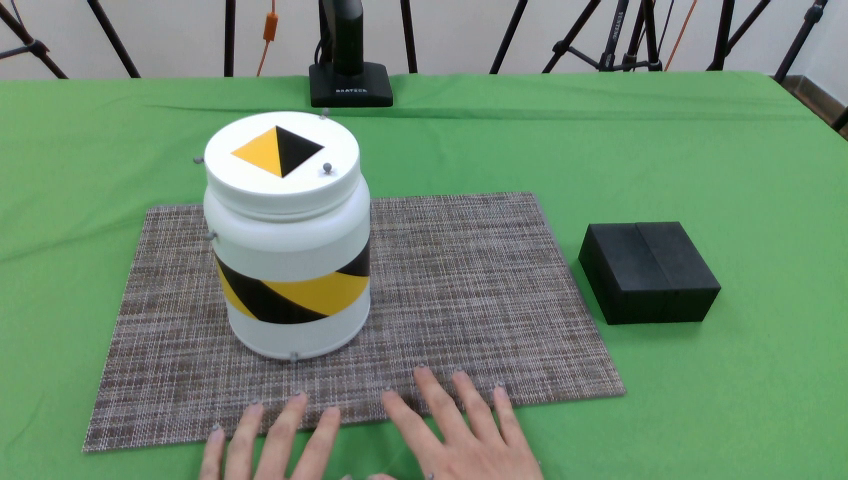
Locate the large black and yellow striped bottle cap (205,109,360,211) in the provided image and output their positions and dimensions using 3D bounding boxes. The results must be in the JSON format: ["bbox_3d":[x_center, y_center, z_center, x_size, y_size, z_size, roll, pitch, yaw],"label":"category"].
[{"bbox_3d":[-0.107,-0.065,0.465,0.115,0.019,0.114,2,42,-2],"label":"large black and yellow striped bottle cap"}]

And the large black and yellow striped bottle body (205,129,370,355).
[{"bbox_3d":[-0.112,-0.003,0.523,0.131,0.185,0.129,3,42,-2],"label":"large black and yellow striped bottle body"}]
